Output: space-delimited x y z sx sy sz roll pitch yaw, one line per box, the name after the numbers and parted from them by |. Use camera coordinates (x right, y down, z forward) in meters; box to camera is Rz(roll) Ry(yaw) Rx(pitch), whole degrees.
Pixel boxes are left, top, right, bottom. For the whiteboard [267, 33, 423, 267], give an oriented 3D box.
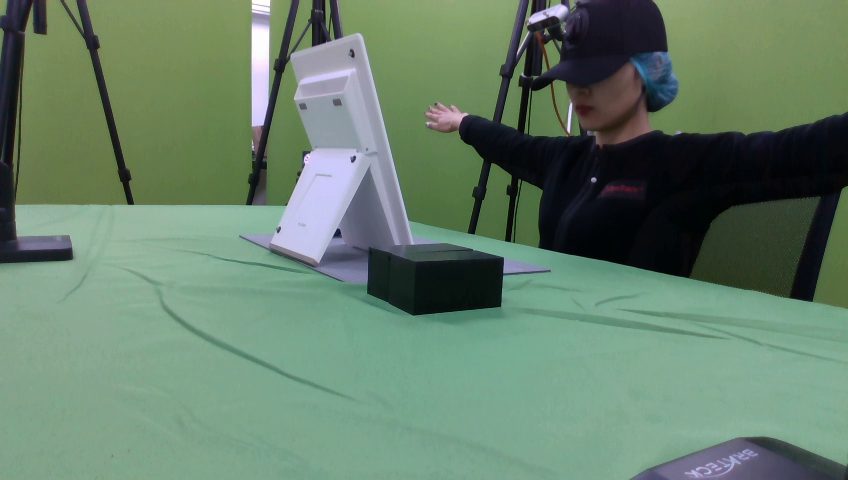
-0.153 -0.097 0.818 0.144 0.305 0.216 -24 20 -28 | whiteboard

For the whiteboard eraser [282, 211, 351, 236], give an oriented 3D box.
-0.189 -0.029 1.066 0.113 0.042 0.055 -2 8 -29 | whiteboard eraser
